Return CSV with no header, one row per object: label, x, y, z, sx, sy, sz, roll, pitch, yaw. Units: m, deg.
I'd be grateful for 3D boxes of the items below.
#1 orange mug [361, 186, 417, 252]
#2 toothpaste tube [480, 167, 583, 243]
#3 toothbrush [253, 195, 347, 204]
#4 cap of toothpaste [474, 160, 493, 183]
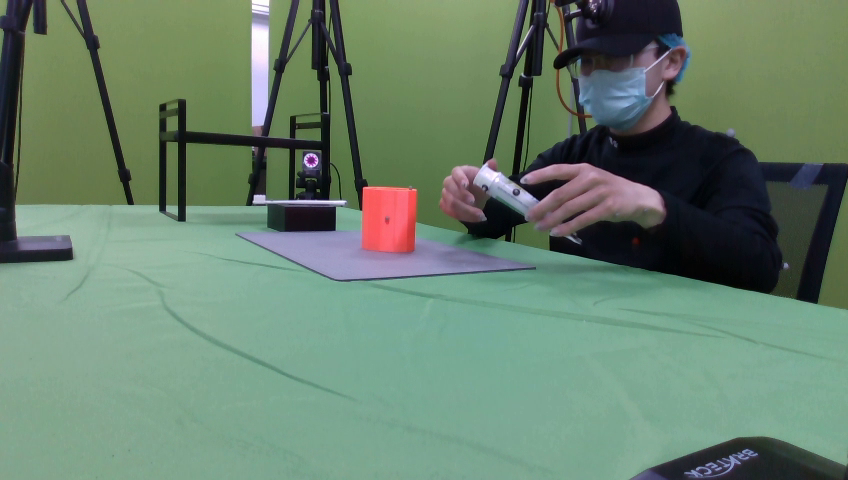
orange mug,-0.054,-0.039,0.962,0.083,0.101,0.126,2,12,0
toothpaste tube,0.144,-0.047,0.815,0.165,0.034,0.055,36,20,10
toothbrush,-0.234,-0.076,1.154,0.183,0.016,0.014,-1,4,-27
cap of toothpaste,0.083,-0.093,0.831,0.011,0.037,0.037,36,16,11
